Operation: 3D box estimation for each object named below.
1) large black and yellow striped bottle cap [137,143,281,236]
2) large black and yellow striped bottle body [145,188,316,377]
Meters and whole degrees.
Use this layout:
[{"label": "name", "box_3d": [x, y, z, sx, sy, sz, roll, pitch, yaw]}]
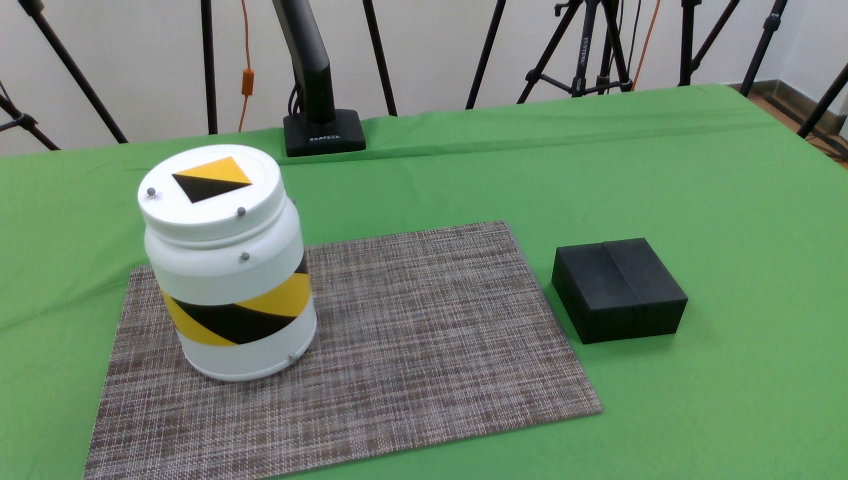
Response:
[{"label": "large black and yellow striped bottle cap", "box_3d": [-0.179, -0.045, 0.509, 0.115, 0.019, 0.114, 1, 41, 0]}, {"label": "large black and yellow striped bottle body", "box_3d": [-0.177, 0.023, 0.564, 0.131, 0.185, 0.129, 0, 39, 1]}]
